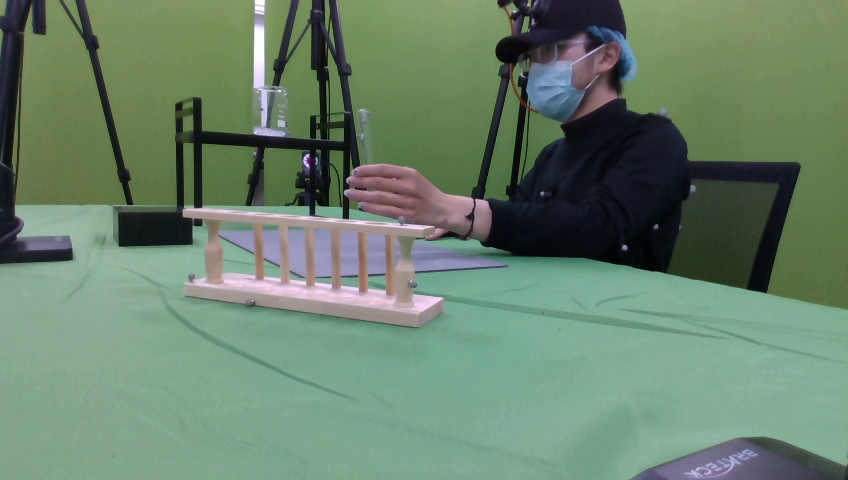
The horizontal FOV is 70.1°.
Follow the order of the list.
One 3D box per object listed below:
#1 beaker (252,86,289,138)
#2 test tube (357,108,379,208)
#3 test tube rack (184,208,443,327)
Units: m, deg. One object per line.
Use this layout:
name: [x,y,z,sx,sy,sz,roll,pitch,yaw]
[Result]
beaker: [-0.319,-0.263,1.250,0.074,0.100,0.084,5,8,21]
test tube: [-0.085,-0.123,0.915,0.017,0.150,0.017,-7,3,1]
test tube rack: [-0.106,0.019,0.570,0.241,0.085,0.067,5,7,20]
